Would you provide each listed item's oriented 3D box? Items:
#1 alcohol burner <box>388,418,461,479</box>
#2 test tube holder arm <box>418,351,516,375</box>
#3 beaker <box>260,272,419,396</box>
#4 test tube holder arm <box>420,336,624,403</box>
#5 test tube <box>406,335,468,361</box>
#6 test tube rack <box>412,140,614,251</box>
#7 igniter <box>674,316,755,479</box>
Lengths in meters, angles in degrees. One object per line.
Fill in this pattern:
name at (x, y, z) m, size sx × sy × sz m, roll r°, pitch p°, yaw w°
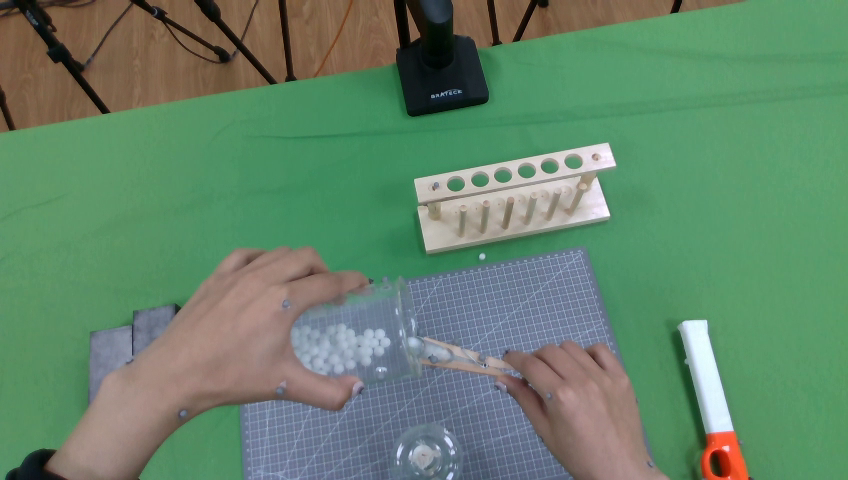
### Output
alcohol burner at (0.000, 0.222, 0.628) m, size 0.078 × 0.120 × 0.077 m, roll -1°, pitch 64°, yaw 2°
test tube holder arm at (0.038, 0.109, 0.534) m, size 0.087 × 0.015 × 0.010 m, roll 5°, pitch 82°, yaw 14°
beaker at (-0.058, 0.071, 0.438) m, size 0.100 × 0.085 × 0.073 m, roll -11°, pitch 58°, yaw 4°
test tube holder arm at (0.082, 0.111, 0.523) m, size 0.178 × 0.015 × 0.013 m, roll 12°, pitch 84°, yaw 15°
test tube at (0.015, 0.100, 0.537) m, size 0.017 × 0.151 × 0.017 m, roll -5°, pitch 73°, yaw 17°
test tube rack at (0.112, -0.054, 0.761) m, size 0.242 × 0.086 × 0.066 m, roll -11°, pitch 66°, yaw -2°
igniter at (0.323, 0.219, 0.666) m, size 0.057 × 0.025 × 0.274 m, roll -1°, pitch 66°, yaw -9°
